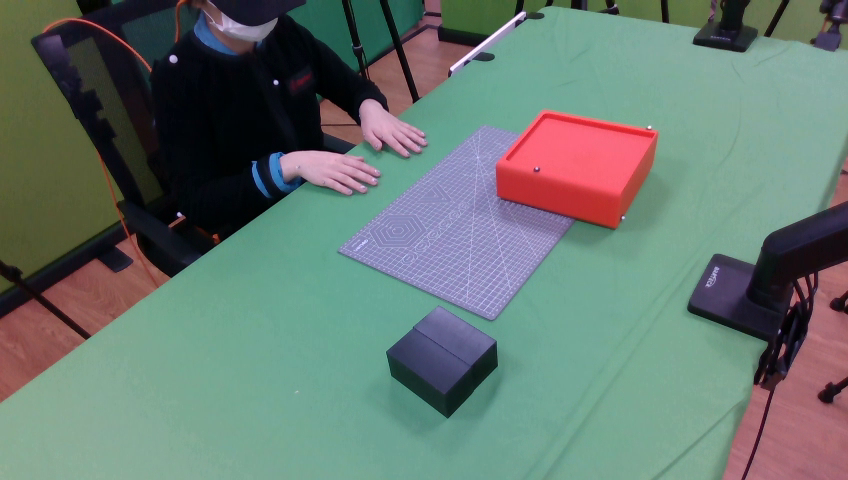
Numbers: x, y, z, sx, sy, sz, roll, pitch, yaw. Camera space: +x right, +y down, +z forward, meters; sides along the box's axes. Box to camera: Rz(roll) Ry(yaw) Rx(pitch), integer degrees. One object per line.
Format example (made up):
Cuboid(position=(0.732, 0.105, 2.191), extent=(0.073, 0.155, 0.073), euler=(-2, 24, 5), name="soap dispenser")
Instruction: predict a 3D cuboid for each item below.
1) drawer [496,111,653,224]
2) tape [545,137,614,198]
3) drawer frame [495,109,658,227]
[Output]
Cuboid(position=(0.257, -0.130, 1.032), extent=(0.210, 0.073, 0.195), euler=(18, 46, 26), name="drawer")
Cuboid(position=(0.264, -0.125, 1.036), extent=(0.117, 0.053, 0.116), euler=(-4, 40, 4), name="tape")
Cuboid(position=(0.260, -0.130, 1.031), extent=(0.212, 0.083, 0.202), euler=(18, 46, 26), name="drawer frame")
